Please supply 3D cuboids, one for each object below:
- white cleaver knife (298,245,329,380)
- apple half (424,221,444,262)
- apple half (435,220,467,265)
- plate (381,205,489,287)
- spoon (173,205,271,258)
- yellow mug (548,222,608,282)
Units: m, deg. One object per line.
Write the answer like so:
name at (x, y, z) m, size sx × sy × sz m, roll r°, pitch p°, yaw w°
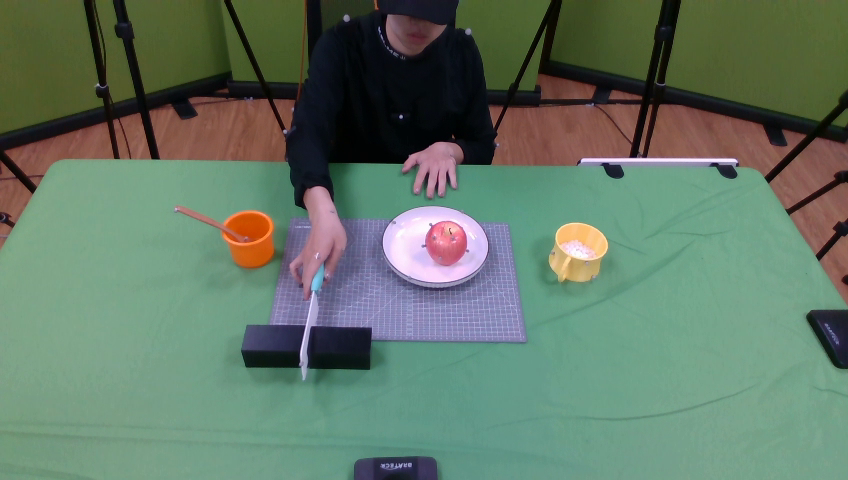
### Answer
white cleaver knife at (-0.193, 0.112, 1.037) m, size 0.021 × 0.066 × 0.284 m, roll 6°, pitch 39°, yaw -3°
apple half at (0.015, 0.002, 1.144) m, size 0.033 × 0.081 × 0.081 m, roll 14°, pitch 46°, yaw 2°
apple half at (0.054, 0.009, 1.142) m, size 0.053 × 0.075 × 0.080 m, roll 14°, pitch 43°, yaw 3°
plate at (0.021, 0.015, 1.170) m, size 0.209 × 0.038 × 0.208 m, roll 2°, pitch 46°, yaw -2°
spoon at (-0.362, -0.017, 1.098) m, size 0.021 × 0.195 × 0.041 m, roll -32°, pitch 42°, yaw 27°
yellow mug at (0.287, 0.031, 1.159) m, size 0.099 × 0.064 × 0.130 m, roll 28°, pitch 51°, yaw 21°
